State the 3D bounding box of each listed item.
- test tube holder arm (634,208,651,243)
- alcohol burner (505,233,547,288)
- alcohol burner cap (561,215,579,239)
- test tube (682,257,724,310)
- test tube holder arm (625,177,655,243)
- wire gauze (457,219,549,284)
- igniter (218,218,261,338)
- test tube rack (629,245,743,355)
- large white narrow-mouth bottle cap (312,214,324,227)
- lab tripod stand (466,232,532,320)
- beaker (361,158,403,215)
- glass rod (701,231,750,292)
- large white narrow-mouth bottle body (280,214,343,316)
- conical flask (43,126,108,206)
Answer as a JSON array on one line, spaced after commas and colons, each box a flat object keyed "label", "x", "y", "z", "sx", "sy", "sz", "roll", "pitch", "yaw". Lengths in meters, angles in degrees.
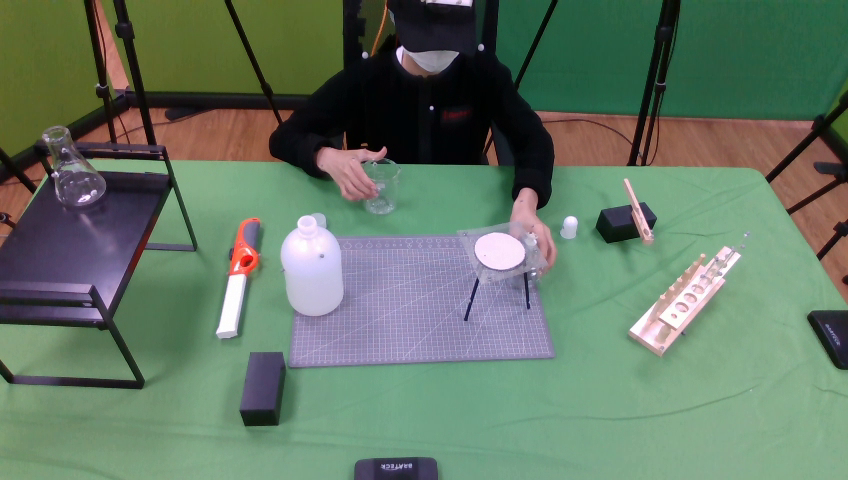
[{"label": "test tube holder arm", "x": 0.428, "y": -0.030, "z": 1.189, "sx": 0.010, "sy": 0.015, "sz": 0.087, "roll": 1, "pitch": 47, "yaw": -2}, {"label": "alcohol burner", "x": 0.187, "y": 0.032, "z": 1.101, "sx": 0.078, "sy": 0.120, "sz": 0.077, "roll": 1, "pitch": 47, "yaw": -1}, {"label": "alcohol burner cap", "x": 0.299, "y": -0.030, "z": 1.230, "sx": 0.034, "sy": 0.048, "sz": 0.033, "roll": 0, "pitch": 46, "yaw": 0}, {"label": "test tube", "x": 0.475, "y": 0.080, "z": 1.037, "sx": 0.017, "sy": 0.151, "sz": 0.017, "roll": 2, "pitch": 51, "yaw": -2}, {"label": "test tube holder arm", "x": 0.433, "y": -0.062, "z": 1.220, "sx": 0.013, "sy": 0.015, "sz": 0.177, "roll": 1, "pitch": 47, "yaw": -3}, {"label": "wire gauze", "x": 0.131, "y": 0.014, "z": 1.016, "sx": 0.121, "sy": 0.011, "sz": 0.124, "roll": -12, "pitch": 47, "yaw": -14}, {"label": "igniter", "x": -0.336, "y": 0.060, "z": 1.111, "sx": 0.057, "sy": 0.025, "sz": 0.274, "roll": -7, "pitch": 46, "yaw": 4}, {"label": "test tube rack", "x": 0.474, "y": 0.095, "z": 1.091, "sx": 0.242, "sy": 0.085, "sz": 0.066, "roll": -34, "pitch": 56, "yaw": -31}, {"label": "large white narrow-mouth bottle cap", "x": -0.219, "y": -0.033, "z": 1.214, "sx": 0.038, "sy": 0.024, "sz": 0.037, "roll": 2, "pitch": 46, "yaw": -2}, {"label": "lab tripod stand", "x": 0.125, "y": 0.059, "z": 1.065, "sx": 0.148, "sy": 0.132, "sz": 0.147, "roll": 1, "pitch": 45, "yaw": 0}, {"label": "beaker", "x": -0.086, "y": -0.108, "z": 1.241, "sx": 0.084, "sy": 0.101, "sz": 0.073, "roll": -9, "pitch": 48, "yaw": -14}, {"label": "glass rod", "x": 0.519, "y": 0.045, "z": 1.050, "sx": 0.008, "sy": 0.201, "sz": 0.008, "roll": 0, "pitch": 55, "yaw": 0}, {"label": "large white narrow-mouth bottle body", "x": -0.190, "y": 0.035, "z": 1.025, "sx": 0.102, "sy": 0.195, "sz": 0.101, "roll": 2, "pitch": 46, "yaw": -2}, {"label": "conical flask", "x": -0.555, "y": -0.119, "z": 0.953, "sx": 0.075, "sy": 0.122, "sz": 0.075, "roll": 2, "pitch": 46, "yaw": -2}]
